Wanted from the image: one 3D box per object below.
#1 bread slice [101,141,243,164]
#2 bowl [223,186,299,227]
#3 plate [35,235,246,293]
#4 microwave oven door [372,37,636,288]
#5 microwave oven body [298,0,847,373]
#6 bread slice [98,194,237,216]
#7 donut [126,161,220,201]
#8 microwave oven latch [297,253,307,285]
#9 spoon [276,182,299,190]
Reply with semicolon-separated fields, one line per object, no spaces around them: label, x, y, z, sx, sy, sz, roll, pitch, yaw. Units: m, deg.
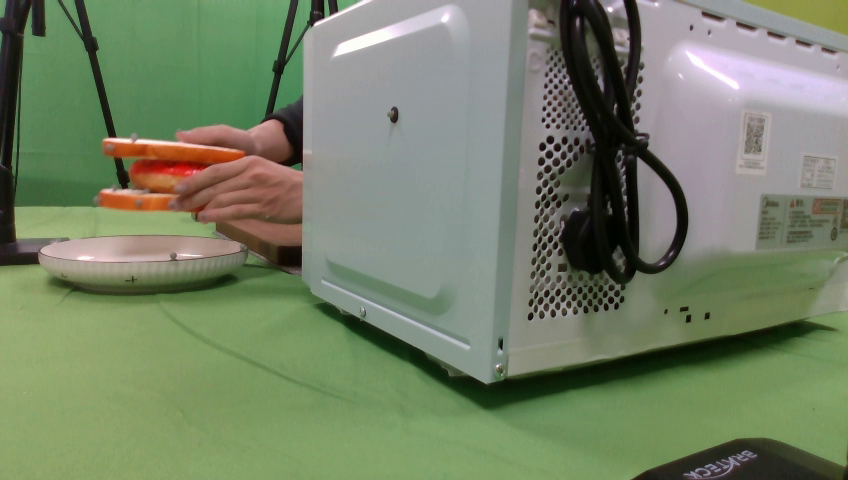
bread slice;-0.288;-0.099;0.684;0.135;0.018;0.106;-5;12;-45
bowl;-0.330;-0.068;1.231;0.151;0.077;0.151;3;7;0
plate;-0.305;0.026;0.668;0.208;0.039;0.207;3;7;0
microwave oven door;0.110;-0.080;0.686;0.358;0.243;0.039;-2;8;-33
microwave oven body;0.151;-0.055;0.542;0.444;0.260;0.324;-2;7;-33
bread slice;-0.293;-0.040;0.685;0.132;0.019;0.104;1;5;-43
donut;-0.286;-0.069;0.692;0.099;0.048;0.099;6;-1;0
microwave oven latch;-0.082;0.027;0.582;0.079;0.029;0.030;-1;7;-32
spoon;-0.300;-0.102;1.266;0.194;0.021;0.041;-23;11;-24
